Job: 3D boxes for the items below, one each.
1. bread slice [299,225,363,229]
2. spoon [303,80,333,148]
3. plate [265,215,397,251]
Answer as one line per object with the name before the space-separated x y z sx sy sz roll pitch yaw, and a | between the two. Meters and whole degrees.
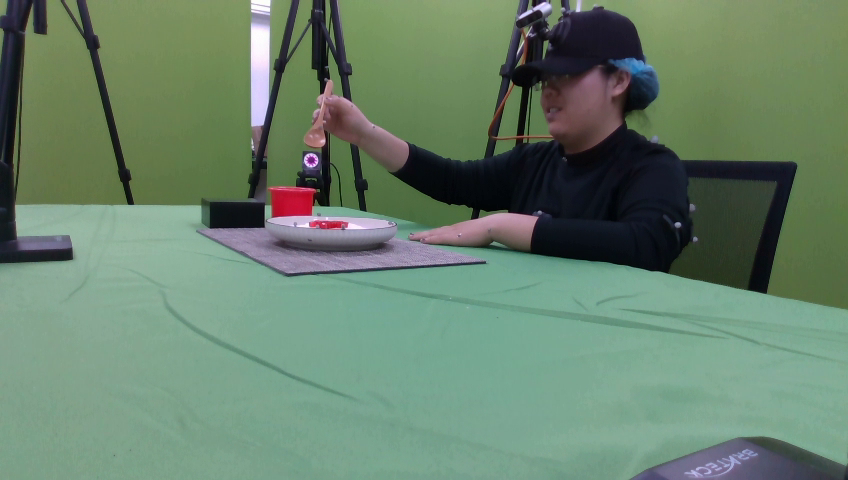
bread slice | -0.154 -0.012 0.973 0.132 0.019 0.104 -1 7 -31
spoon | -0.202 -0.253 1.199 0.042 0.193 0.021 13 -32 -7
plate | -0.147 -0.012 0.963 0.209 0.038 0.209 3 7 0
